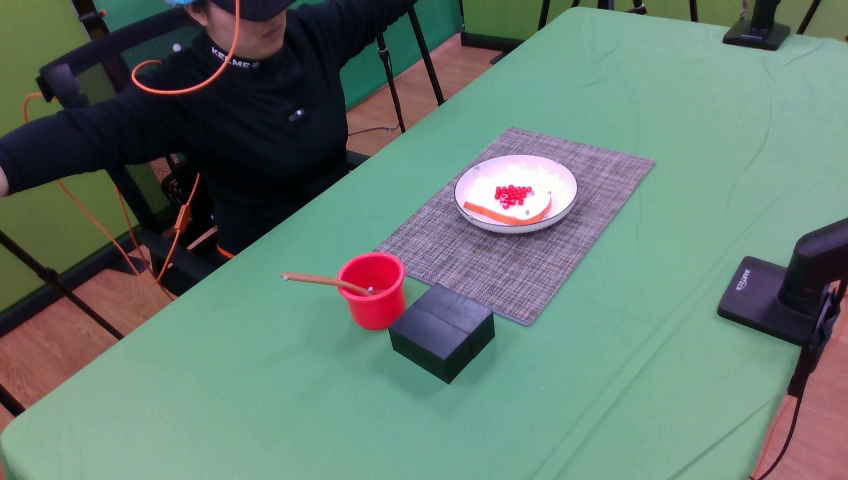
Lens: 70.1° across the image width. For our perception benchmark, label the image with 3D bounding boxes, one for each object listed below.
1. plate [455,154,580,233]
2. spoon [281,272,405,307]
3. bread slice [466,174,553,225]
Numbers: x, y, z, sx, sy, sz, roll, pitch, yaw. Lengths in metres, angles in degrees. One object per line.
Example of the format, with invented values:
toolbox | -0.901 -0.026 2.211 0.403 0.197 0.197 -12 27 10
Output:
plate | 0.158 -0.076 1.028 0.209 0.038 0.208 -5 40 5
spoon | -0.108 0.065 0.836 0.195 0.021 0.041 20 22 -37
bread slice | 0.152 -0.068 1.022 0.130 0.019 0.105 23 50 33
